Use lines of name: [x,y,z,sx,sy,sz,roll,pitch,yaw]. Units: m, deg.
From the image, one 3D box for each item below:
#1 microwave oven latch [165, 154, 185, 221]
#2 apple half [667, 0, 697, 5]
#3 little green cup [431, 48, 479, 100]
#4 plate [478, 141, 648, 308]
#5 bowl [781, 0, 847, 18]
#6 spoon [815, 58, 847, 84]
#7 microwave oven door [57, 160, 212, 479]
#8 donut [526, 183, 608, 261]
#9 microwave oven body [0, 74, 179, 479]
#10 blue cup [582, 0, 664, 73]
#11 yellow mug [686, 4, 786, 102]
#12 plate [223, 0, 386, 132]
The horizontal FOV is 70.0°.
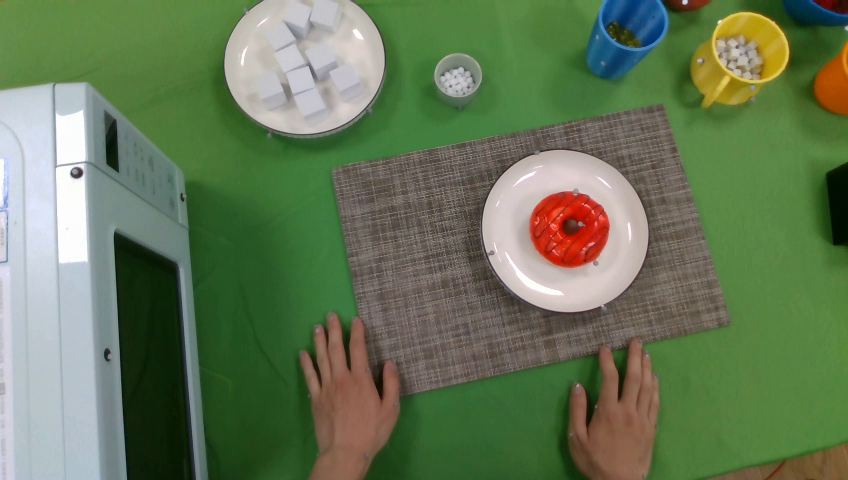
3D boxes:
microwave oven latch: [-0.309,-0.063,0.736,0.030,0.029,0.079,-6,79,-3]
apple half: [0.341,-0.358,0.813,0.053,0.075,0.080,-6,81,1]
little green cup: [0.040,-0.215,0.794,0.061,0.039,0.061,0,78,-1]
plate: [0.169,-0.019,0.753,0.209,0.038,0.208,0,78,-1]
bowl: [0.535,-0.356,0.814,0.151,0.077,0.150,0,79,-1]
spoon: [0.591,-0.206,0.748,0.041,0.192,0.022,-54,128,-10]
microwave oven door: [-0.275,0.128,0.594,0.039,0.244,0.354,-9,78,-3]
donut: [0.174,-0.022,0.742,0.099,0.048,0.098,0,79,0]
microwave oven body: [-0.426,0.110,0.599,0.326,0.261,0.439,-9,79,-3]
blue cup: [0.246,-0.264,0.777,0.093,0.100,0.092,0,80,-2]
yellow mug: [0.398,-0.234,0.792,0.100,0.064,0.130,36,81,5]
plate: [-0.153,-0.235,0.794,0.208,0.039,0.206,0,78,-1]
